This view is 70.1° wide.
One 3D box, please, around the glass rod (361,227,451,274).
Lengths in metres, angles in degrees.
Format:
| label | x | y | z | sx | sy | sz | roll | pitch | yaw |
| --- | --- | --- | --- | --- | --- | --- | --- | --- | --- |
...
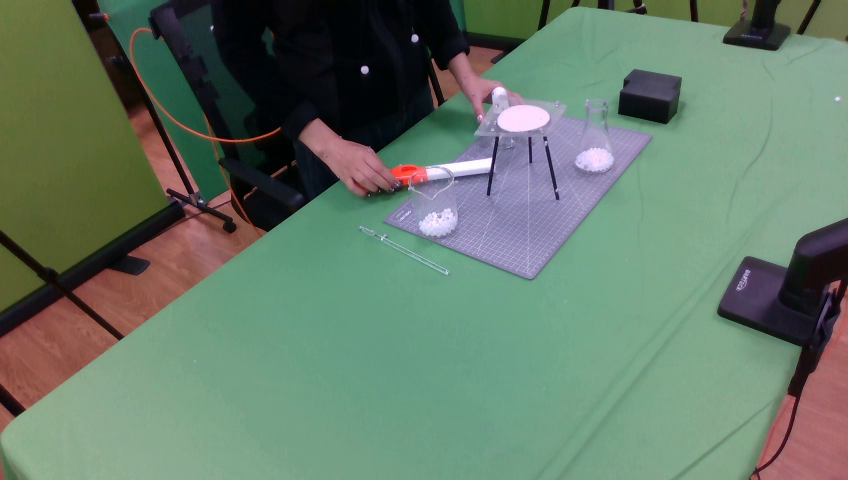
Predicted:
| label | x | y | z | sx | sy | sz | roll | pitch | yaw |
| --- | --- | --- | --- | --- | --- | --- | --- | --- | --- |
| glass rod | -0.033 | 0.014 | 0.985 | 0.198 | 0.008 | 0.008 | 25 | 52 | 34 |

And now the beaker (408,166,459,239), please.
| label | x | y | z | sx | sy | sz | roll | pitch | yaw |
| --- | --- | --- | --- | --- | --- | --- | --- | --- | --- |
| beaker | 0.018 | -0.057 | 0.984 | 0.074 | 0.101 | 0.083 | -6 | 41 | 5 |

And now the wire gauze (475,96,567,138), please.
| label | x | y | z | sx | sy | sz | roll | pitch | yaw |
| --- | --- | --- | --- | --- | --- | --- | --- | --- | --- |
| wire gauze | 0.161 | -0.201 | 0.994 | 0.121 | 0.011 | 0.125 | 11 | 43 | 23 |

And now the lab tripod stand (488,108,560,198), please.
| label | x | y | z | sx | sy | sz | roll | pitch | yaw |
| --- | --- | --- | --- | --- | --- | --- | --- | --- | --- |
| lab tripod stand | 0.173 | -0.150 | 1.037 | 0.148 | 0.132 | 0.147 | -7 | 38 | 6 |

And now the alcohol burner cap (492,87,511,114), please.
| label | x | y | z | sx | sy | sz | roll | pitch | yaw |
| --- | --- | --- | --- | --- | --- | --- | --- | --- | --- |
| alcohol burner cap | 0.144 | -0.264 | 1.136 | 0.034 | 0.048 | 0.033 | -9 | 39 | 8 |

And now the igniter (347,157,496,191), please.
| label | x | y | z | sx | sy | sz | roll | pitch | yaw |
| --- | --- | --- | --- | --- | --- | --- | --- | --- | --- |
| igniter | -0.006 | -0.122 | 1.118 | 0.276 | 0.025 | 0.057 | -7 | 43 | 3 |

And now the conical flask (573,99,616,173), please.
| label | x | y | z | sx | sy | sz | roll | pitch | yaw |
| --- | --- | --- | --- | --- | --- | --- | --- | --- | --- |
| conical flask | 0.302 | -0.184 | 1.061 | 0.075 | 0.122 | 0.075 | -5 | 40 | 5 |

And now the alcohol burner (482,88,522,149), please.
| label | x | y | z | sx | sy | sz | roll | pitch | yaw |
| --- | --- | --- | --- | --- | --- | --- | --- | --- | --- |
| alcohol burner | 0.149 | -0.237 | 1.160 | 0.078 | 0.119 | 0.077 | -4 | 40 | 4 |
